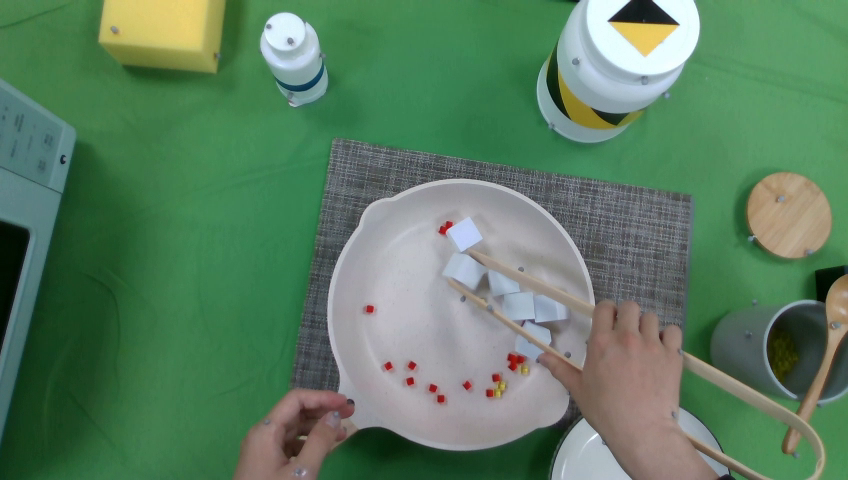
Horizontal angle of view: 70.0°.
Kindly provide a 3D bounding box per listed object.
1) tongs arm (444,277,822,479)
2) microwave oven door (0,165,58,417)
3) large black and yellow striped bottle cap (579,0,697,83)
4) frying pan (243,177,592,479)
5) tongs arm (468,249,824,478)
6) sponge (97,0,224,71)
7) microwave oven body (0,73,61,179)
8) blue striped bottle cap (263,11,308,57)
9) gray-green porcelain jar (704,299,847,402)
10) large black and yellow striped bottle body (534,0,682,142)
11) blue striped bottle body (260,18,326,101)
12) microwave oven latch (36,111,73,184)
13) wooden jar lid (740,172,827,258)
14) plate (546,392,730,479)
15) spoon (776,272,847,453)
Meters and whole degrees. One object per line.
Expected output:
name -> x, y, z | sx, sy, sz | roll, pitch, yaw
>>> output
tongs arm -> 0.163, 0.114, 0.576 | 0.050, 0.027, 0.380 | -45, 49, -13
microwave oven door -> -0.454, 0.093, 0.549 | 0.039, 0.244, 0.354 | 9, 81, -2
large black and yellow striped bottle cap -> 0.211, -0.213, 0.597 | 0.115, 0.019, 0.114 | 0, 83, -3
frying pan -> -0.041, 0.141, 0.652 | 0.487, 0.103, 0.306 | -39, 85, -16
tongs arm -> 0.182, 0.094, 0.584 | 0.028, 0.028, 0.383 | -45, 49, -18
sponge -> -0.305, -0.317, 0.725 | 0.118, 0.061, 0.206 | 4, 82, -3
microwave oven body -> -0.590, 0.028, 0.554 | 0.326, 0.260, 0.440 | 10, 82, -2
blue striped bottle cap -> -0.146, -0.218, 0.640 | 0.044, 0.020, 0.044 | 0, 83, -3
gray-green porcelain jar -> 0.385, 0.121, 0.674 | 0.106, 0.127, 0.105 | 1, 81, -3
large black and yellow striped bottle body -> 0.206, -0.199, 0.680 | 0.131, 0.184, 0.130 | 1, 81, -3
blue striped bottle body -> -0.149, -0.209, 0.690 | 0.063, 0.121, 0.063 | 0, 81, -3
microwave oven latch -> -0.421, -0.105, 0.681 | 0.030, 0.029, 0.079 | 12, 82, -2
wooden jar lid -> 0.444, -0.031, 0.753 | 0.108, 0.021, 0.108 | 0, 83, -3
plate -> 0.237, 0.276, 0.685 | 0.208, 0.039, 0.207 | 0, 83, -3
spoon -> 0.392, 0.122, 0.603 | 0.041, 0.021, 0.193 | 25, 85, -2
